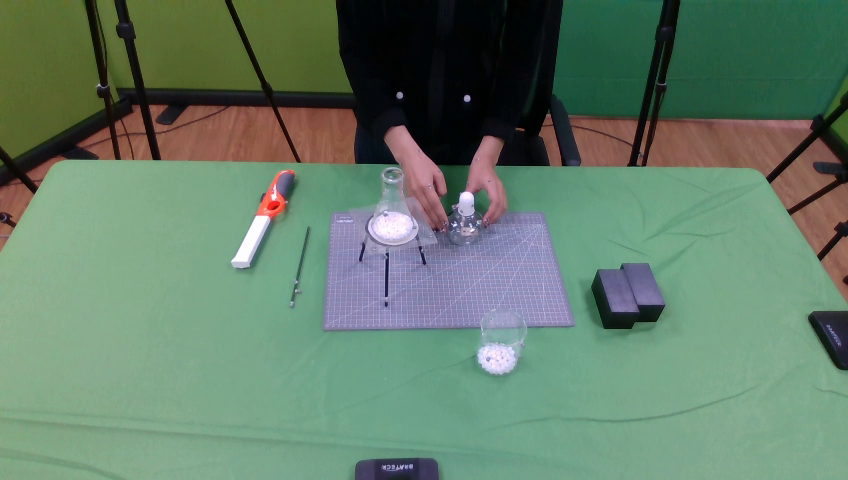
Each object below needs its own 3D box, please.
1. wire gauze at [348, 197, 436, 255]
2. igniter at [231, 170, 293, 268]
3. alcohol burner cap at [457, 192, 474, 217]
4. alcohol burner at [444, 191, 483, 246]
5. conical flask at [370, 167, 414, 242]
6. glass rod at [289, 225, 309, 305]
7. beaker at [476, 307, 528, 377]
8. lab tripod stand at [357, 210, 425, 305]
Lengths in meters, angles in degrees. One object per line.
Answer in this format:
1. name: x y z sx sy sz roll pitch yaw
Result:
1. wire gauze: -0.056 -0.025 1.046 0.125 0.011 0.120 -13 46 -15
2. igniter: -0.321 -0.051 1.220 0.057 0.025 0.275 1 45 11
3. alcohol burner cap: 0.080 -0.071 1.157 0.034 0.048 0.033 -1 49 1
4. alcohol burner: 0.079 -0.047 1.184 0.078 0.120 0.077 1 45 -1
5. conical flask: -0.053 -0.062 1.000 0.075 0.122 0.075 2 44 -2
6. glass rod: -0.235 0.043 1.149 0.008 0.008 0.198 3 46 -1
7. beaker: 0.122 0.171 0.991 0.084 0.101 0.073 -34 56 -30
8. lab tripod stand: -0.060 0.020 1.094 0.148 0.132 0.147 3 44 -2
